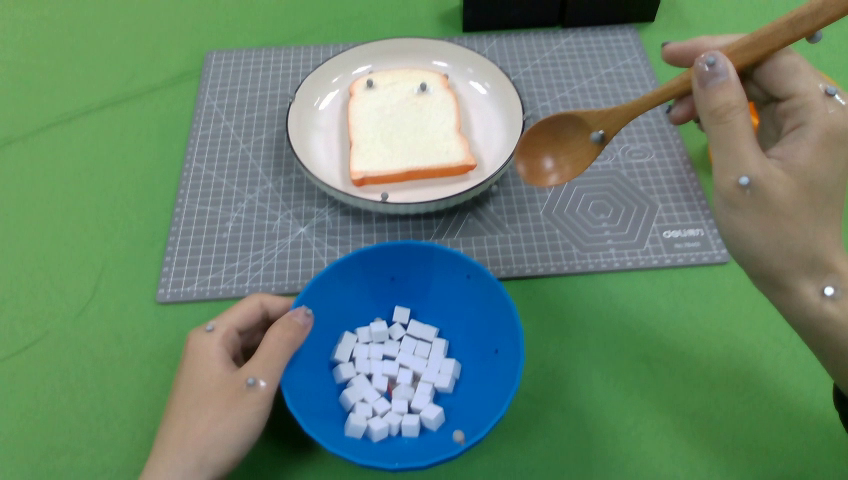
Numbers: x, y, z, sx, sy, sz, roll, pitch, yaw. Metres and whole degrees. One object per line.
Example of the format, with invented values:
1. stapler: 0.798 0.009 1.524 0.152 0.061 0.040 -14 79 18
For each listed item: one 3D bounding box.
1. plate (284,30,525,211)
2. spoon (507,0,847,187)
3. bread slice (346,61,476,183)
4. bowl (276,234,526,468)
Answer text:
1. plate: -0.017 -0.106 0.540 0.209 0.038 0.207 -1 57 2
2. spoon: 0.116 -0.073 0.303 0.021 0.193 0.041 -26 91 -41
3. bread slice: -0.020 -0.109 0.545 0.107 0.018 0.133 -10 59 -4
4. bowl: -0.013 0.079 0.396 0.151 0.077 0.150 0 57 1
